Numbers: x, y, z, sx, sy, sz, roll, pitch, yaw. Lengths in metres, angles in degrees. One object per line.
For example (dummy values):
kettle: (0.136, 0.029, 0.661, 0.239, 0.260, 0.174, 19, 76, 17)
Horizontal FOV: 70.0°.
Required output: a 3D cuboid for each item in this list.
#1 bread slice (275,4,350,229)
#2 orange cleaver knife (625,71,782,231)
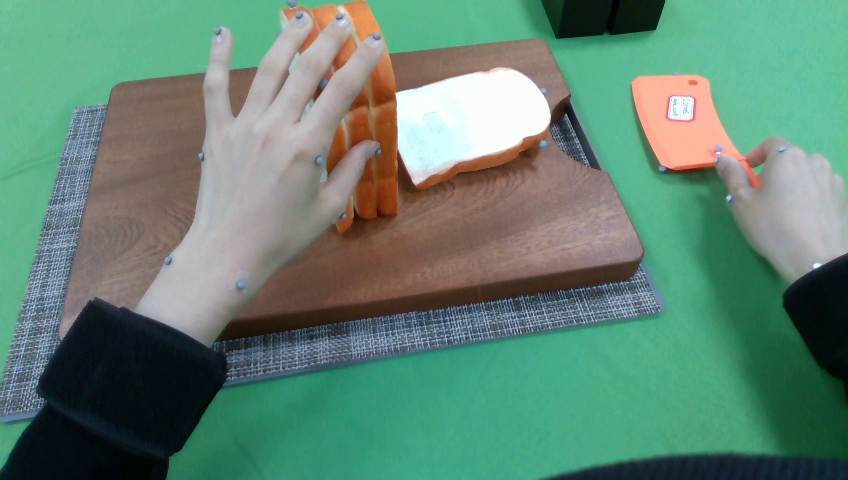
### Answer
bread slice: (-0.077, -0.091, 0.419, 0.018, 0.135, 0.106, -17, 49, -15)
orange cleaver knife: (0.230, -0.085, 0.518, 0.077, 0.012, 0.209, -10, 49, 5)
